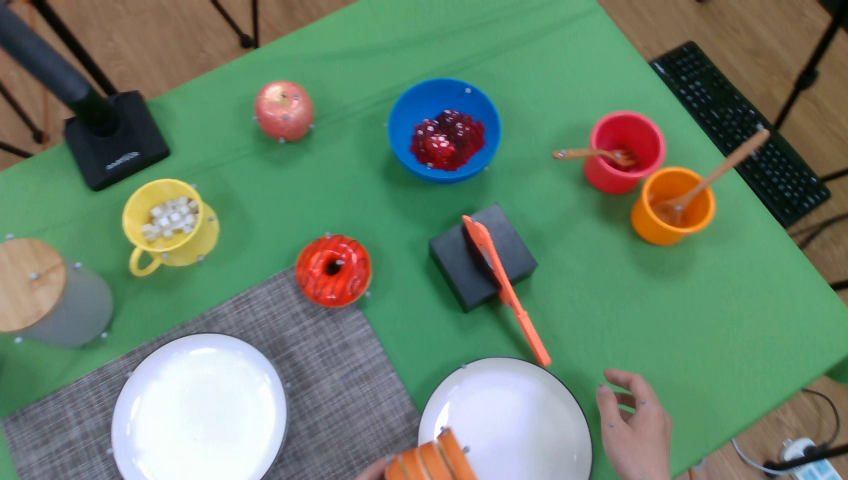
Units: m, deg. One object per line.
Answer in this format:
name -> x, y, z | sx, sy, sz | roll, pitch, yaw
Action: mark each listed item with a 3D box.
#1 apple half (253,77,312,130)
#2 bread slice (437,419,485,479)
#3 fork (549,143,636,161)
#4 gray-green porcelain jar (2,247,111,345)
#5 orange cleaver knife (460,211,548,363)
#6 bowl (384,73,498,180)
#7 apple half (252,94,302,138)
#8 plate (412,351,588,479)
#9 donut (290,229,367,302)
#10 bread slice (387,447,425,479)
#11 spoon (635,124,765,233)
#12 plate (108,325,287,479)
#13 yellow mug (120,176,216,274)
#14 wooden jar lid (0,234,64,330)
apple half -> -0.190, -0.194, 0.846 | 0.080, 0.075, 0.053 | 24, 67, 11
bread slice -> 0.045, 0.232, 0.601 | 0.018, 0.135, 0.106 | -28, 69, -9
fork -> 0.222, -0.116, 0.788 | 0.208, 0.018, 0.028 | -6, 66, -47
gray-green porcelain jar -> -0.451, 0.068, 0.728 | 0.106, 0.127, 0.105 | 0, 71, 0
orange cleaver knife -> 0.099, 0.057, 0.762 | 0.012, 0.077, 0.212 | -28, 99, -10
bowl -> 0.023, -0.142, 0.829 | 0.151, 0.077, 0.150 | 0, 72, 0
apple half -> -0.206, -0.161, 0.833 | 0.081, 0.082, 0.032 | 25, 68, 8
plate -> 0.089, 0.238, 0.726 | 0.209, 0.038, 0.207 | 1, 72, -1
donut -> -0.123, 0.033, 0.783 | 0.099, 0.048, 0.098 | 1, 72, -1
bread slice -> -0.005, 0.254, 0.602 | 0.019, 0.132, 0.104 | -29, 68, -6
spoon -> 0.351, -0.076, 0.775 | 0.022, 0.194, 0.041 | -11, 61, -51
plate -> -0.266, 0.208, 0.728 | 0.208, 0.039, 0.206 | 0, 72, -1
yellow mug -> -0.340, -0.013, 0.788 | 0.099, 0.064, 0.130 | 27, 74, 8
wooden jar lid -> -0.451, 0.047, 0.669 | 0.108, 0.021, 0.107 | 0, 70, 1
